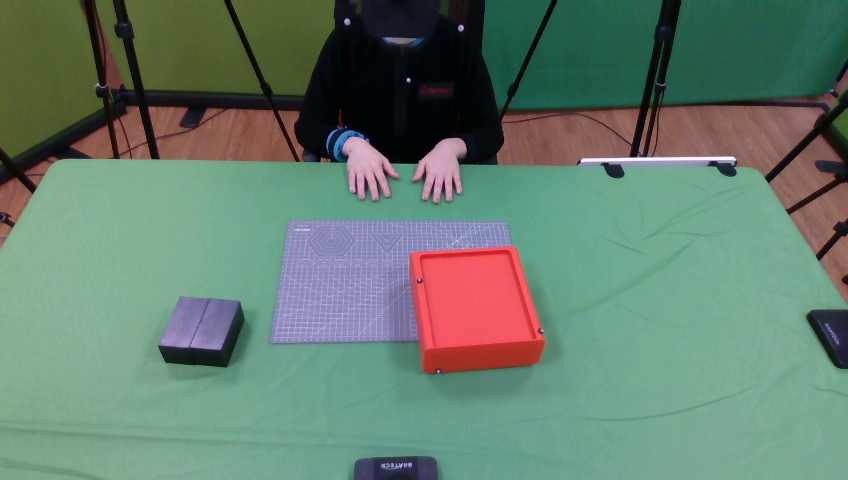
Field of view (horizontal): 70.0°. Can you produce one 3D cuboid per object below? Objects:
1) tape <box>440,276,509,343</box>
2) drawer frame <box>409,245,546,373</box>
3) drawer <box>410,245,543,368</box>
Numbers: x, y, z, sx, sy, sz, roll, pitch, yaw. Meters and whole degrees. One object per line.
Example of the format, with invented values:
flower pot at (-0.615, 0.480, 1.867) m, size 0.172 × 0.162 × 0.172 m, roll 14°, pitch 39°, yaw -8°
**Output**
tape at (0.086, 0.120, 1.053) m, size 0.117 × 0.053 × 0.116 m, roll 2°, pitch 46°, yaw -2°
drawer frame at (0.084, 0.113, 1.049) m, size 0.202 × 0.083 × 0.212 m, roll -4°, pitch 47°, yaw -8°
drawer at (0.083, 0.111, 1.051) m, size 0.195 × 0.073 × 0.210 m, roll -3°, pitch 47°, yaw -8°
